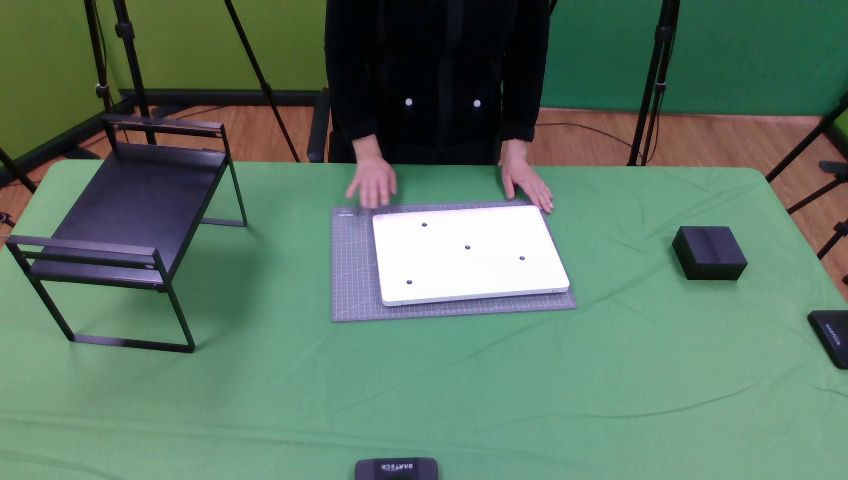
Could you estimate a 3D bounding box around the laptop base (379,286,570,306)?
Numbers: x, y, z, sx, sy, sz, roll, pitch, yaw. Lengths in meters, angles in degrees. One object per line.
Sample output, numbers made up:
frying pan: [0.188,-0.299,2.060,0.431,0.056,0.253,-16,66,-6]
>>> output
laptop base: [0.083,0.027,1.179,0.355,0.023,0.234,-4,43,-8]

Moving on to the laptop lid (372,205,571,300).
laptop lid: [0.083,0.017,1.171,0.357,0.013,0.240,-3,44,-7]
